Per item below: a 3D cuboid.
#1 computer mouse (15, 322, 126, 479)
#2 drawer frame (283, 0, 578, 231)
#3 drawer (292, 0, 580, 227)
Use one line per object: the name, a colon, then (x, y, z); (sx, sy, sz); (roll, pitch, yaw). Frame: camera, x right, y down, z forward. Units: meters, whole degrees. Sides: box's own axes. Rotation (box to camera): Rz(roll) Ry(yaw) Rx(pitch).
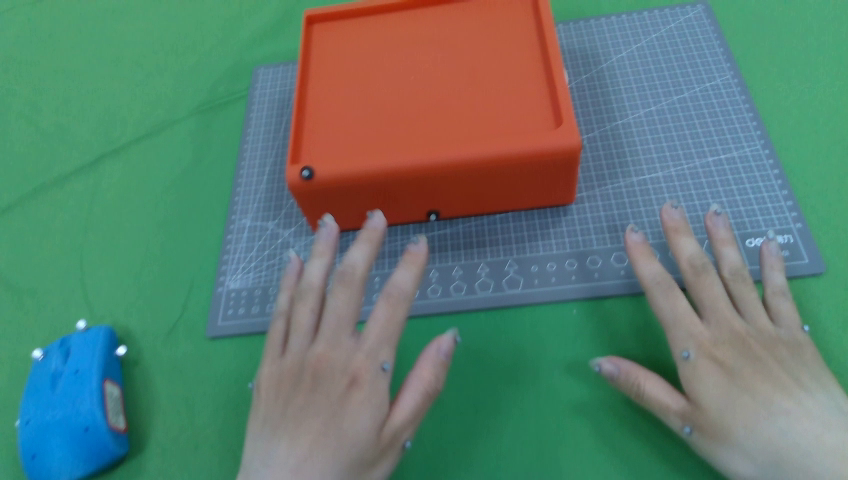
computer mouse: (-0.253, 0.111, 0.433); (0.063, 0.041, 0.116); (-23, 53, -3)
drawer frame: (0.005, -0.116, 0.500); (0.213, 0.083, 0.199); (-8, 58, 6)
drawer: (0.008, -0.116, 0.501); (0.211, 0.074, 0.192); (-7, 58, 6)
